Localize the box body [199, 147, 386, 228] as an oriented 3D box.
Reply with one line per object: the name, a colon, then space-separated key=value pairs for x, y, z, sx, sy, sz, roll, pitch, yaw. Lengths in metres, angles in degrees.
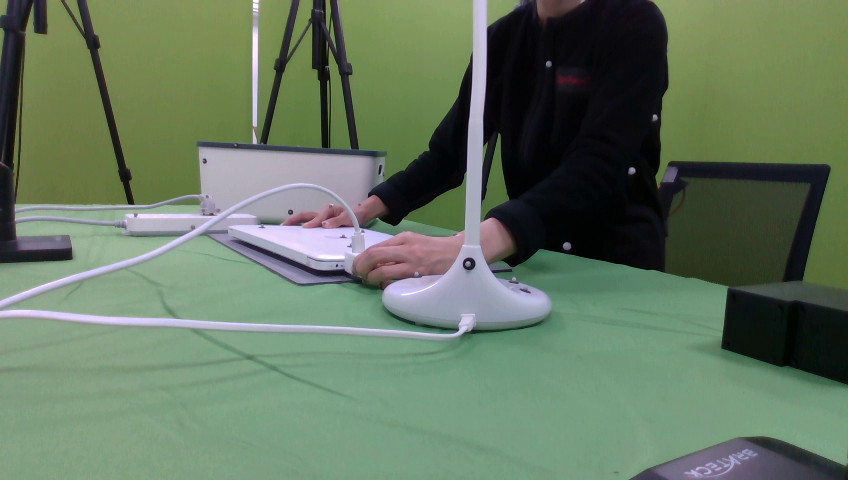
box body: x=-0.276 y=-0.124 z=1.334 sx=0.364 sy=0.160 sz=0.254 roll=3 pitch=7 yaw=1

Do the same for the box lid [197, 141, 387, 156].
box lid: x=-0.275 y=-0.198 z=1.325 sx=0.372 sy=0.015 sz=0.263 roll=3 pitch=8 yaw=1

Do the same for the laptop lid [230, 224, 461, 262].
laptop lid: x=-0.119 y=0.001 z=0.888 sx=0.243 sy=0.013 sz=0.355 roll=1 pitch=7 yaw=-33

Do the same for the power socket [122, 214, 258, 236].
power socket: x=-0.398 y=-0.028 z=1.049 sx=0.228 sy=0.032 sz=0.072 roll=-3 pitch=8 yaw=-34

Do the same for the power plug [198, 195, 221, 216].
power plug: x=-0.387 y=-0.055 z=1.089 sx=0.035 sy=0.052 sz=0.072 roll=-1 pitch=6 yaw=-22

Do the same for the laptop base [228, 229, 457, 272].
laptop base: x=-0.122 y=0.012 z=0.889 sx=0.237 sy=0.023 sz=0.352 roll=1 pitch=6 yaw=-35

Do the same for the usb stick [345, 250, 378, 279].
usb stick: x=-0.074 y=0.027 z=0.686 sx=0.021 sy=0.027 sz=0.059 roll=-7 pitch=7 yaw=-32

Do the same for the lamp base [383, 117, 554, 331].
lamp base: x=0.045 y=-0.019 z=0.547 sx=0.161 sy=0.180 sz=0.179 roll=2 pitch=10 yaw=-4
